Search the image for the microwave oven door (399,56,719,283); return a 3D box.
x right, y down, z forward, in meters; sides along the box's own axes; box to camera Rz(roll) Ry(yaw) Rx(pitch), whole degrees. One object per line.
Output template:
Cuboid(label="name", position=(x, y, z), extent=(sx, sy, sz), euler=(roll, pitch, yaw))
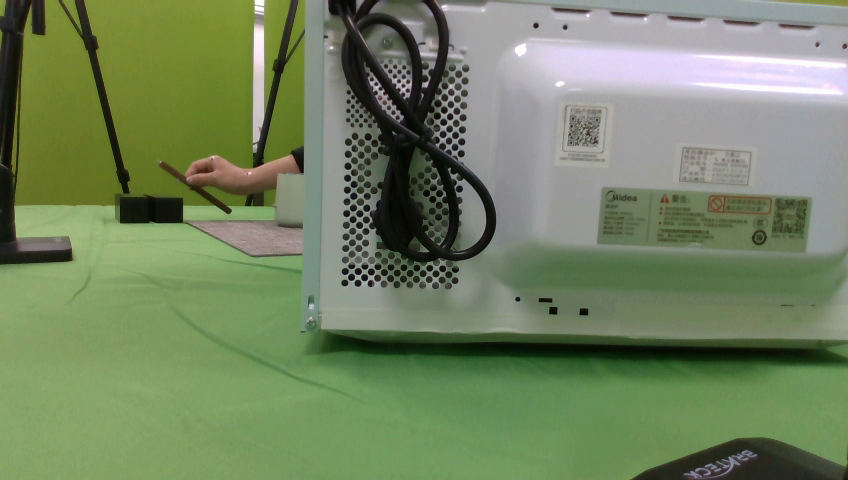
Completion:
Cuboid(label="microwave oven door", position=(0.155, -0.078, 0.697), extent=(0.356, 0.243, 0.039), euler=(2, 8, -5))

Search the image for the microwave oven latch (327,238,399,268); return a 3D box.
Cuboid(label="microwave oven latch", position=(-0.069, 0.014, 0.694), extent=(0.079, 0.029, 0.030), euler=(3, 7, -3))

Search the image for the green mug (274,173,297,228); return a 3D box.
Cuboid(label="green mug", position=(-0.242, -0.081, 1.221), extent=(0.092, 0.105, 0.126), euler=(8, 9, 39))

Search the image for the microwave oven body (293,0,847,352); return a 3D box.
Cuboid(label="microwave oven body", position=(0.122, -0.055, 0.550), extent=(0.442, 0.260, 0.325), euler=(3, 7, -5))

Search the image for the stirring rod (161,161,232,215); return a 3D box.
Cuboid(label="stirring rod", position=(-0.470, -0.106, 1.257), extent=(0.006, 0.014, 0.177), euler=(10, -26, 49))
